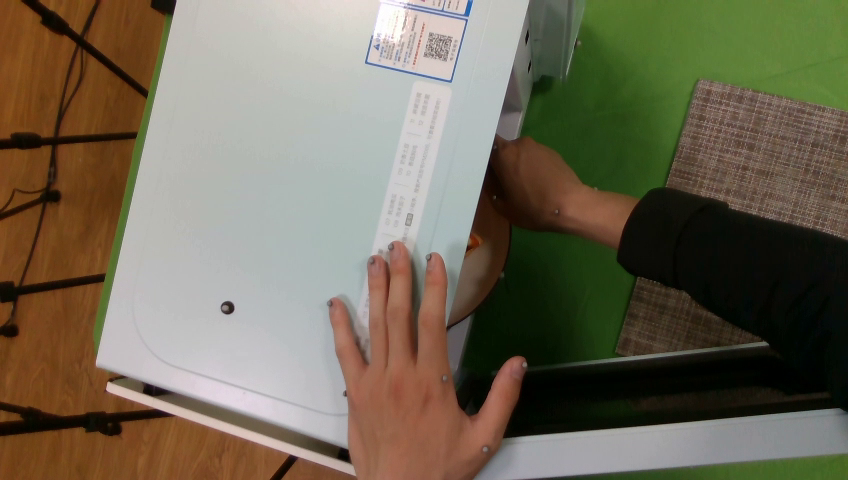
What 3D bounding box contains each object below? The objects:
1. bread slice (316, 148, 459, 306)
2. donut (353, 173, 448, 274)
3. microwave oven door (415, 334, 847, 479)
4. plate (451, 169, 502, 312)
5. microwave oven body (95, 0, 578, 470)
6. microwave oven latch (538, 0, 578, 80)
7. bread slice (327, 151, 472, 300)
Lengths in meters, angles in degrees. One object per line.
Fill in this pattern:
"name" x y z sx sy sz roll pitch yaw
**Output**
"bread slice" -0.043 -0.016 0.558 0.105 0.019 0.131 -30 87 15
"donut" -0.023 -0.016 0.586 0.098 0.048 0.099 2 95 24
"microwave oven door" 0.188 0.139 0.518 0.355 0.244 0.039 -10 87 11
"plate" -0.026 -0.016 0.610 0.207 0.039 0.207 0 91 8
"microwave oven body" -0.064 -0.076 0.570 0.325 0.261 0.441 14 93 10
"microwave oven latch" 0.139 -0.210 0.629 0.030 0.029 0.079 15 93 10
"bread slice" -0.034 -0.020 0.608 0.107 0.018 0.134 -38 83 3
